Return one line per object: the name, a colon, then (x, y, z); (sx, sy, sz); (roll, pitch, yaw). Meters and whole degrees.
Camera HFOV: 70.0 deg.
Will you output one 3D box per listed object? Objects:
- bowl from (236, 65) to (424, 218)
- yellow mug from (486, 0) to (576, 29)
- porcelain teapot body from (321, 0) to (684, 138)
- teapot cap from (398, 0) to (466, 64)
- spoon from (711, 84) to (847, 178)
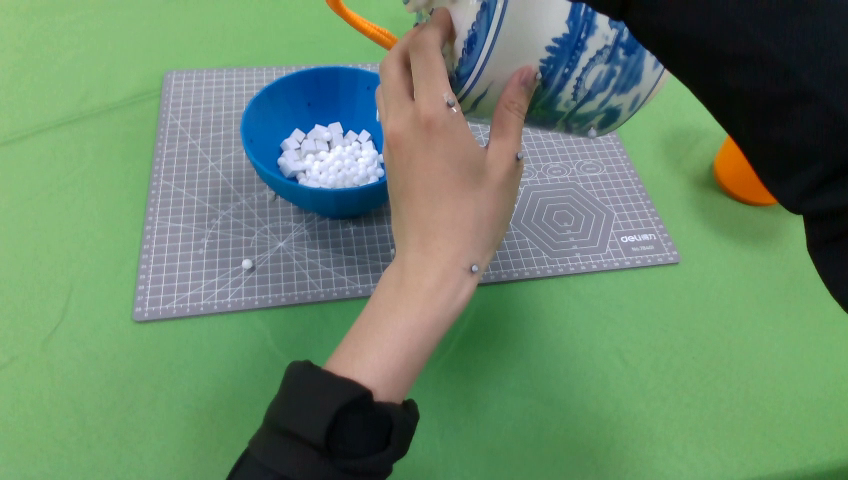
bowl: (-0.077, -0.072, 0.519); (0.151, 0.077, 0.150); (3, 52, -3)
yellow mug: (0.113, -0.272, 0.639); (0.099, 0.064, 0.130); (22, 56, 12)
porcelain teapot body: (0.033, -0.139, 0.422); (0.226, 0.206, 0.144); (4, 61, -22)
teapot cap: (0.006, -0.156, 0.385); (0.044, 0.085, 0.084); (1, 51, -22)
spoon: (0.358, -0.116, 0.554); (0.022, 0.194, 0.041); (28, 37, -42)
